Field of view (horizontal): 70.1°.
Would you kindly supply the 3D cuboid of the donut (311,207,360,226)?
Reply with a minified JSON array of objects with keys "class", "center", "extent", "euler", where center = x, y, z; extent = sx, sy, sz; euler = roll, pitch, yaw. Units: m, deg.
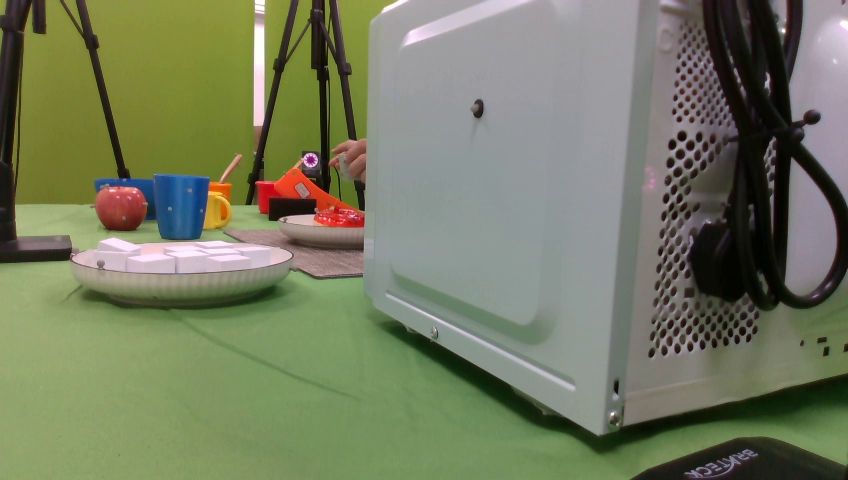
[{"class":"donut","center":[-0.137,-0.029,0.995],"extent":[0.099,0.048,0.099],"euler":[3,8,0]}]

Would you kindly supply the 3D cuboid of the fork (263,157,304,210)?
[{"class":"fork","center":[-0.345,-0.143,1.505],"extent":[0.028,0.019,0.207],"euler":[-5,45,29]}]

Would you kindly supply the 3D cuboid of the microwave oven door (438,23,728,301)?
[{"class":"microwave oven door","center":[0.181,-0.072,0.621],"extent":[0.358,0.243,0.039],"euler":[-2,8,-29]}]

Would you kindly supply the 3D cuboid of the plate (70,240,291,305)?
[{"class":"plate","center":[-0.242,0.031,0.618],"extent":[0.208,0.039,0.207],"euler":[2,8,0]}]

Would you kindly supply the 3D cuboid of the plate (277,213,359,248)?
[{"class":"plate","center":[-0.135,-0.017,0.992],"extent":[0.209,0.038,0.209],"euler":[2,8,0]}]

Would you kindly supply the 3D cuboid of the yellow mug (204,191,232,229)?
[{"class":"yellow mug","center":[-0.415,-0.057,1.131],"extent":[0.130,0.064,0.100],"euler":[6,7,16]}]

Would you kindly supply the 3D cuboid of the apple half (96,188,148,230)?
[{"class":"apple half","center":[-0.517,-0.052,1.036],"extent":[0.081,0.074,0.053],"euler":[3,10,-26]}]

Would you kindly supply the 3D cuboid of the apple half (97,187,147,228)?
[{"class":"apple half","center":[-0.534,-0.059,1.071],"extent":[0.082,0.081,0.032],"euler":[-1,11,-25]}]

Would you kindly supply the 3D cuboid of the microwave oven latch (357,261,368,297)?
[{"class":"microwave oven latch","center":[-0.019,0.033,0.531],"extent":[0.079,0.029,0.030],"euler":[-1,7,-27]}]

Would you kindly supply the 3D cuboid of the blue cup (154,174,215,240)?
[{"class":"blue cup","center":[-0.391,-0.053,0.978],"extent":[0.093,0.100,0.092],"euler":[4,6,0]}]

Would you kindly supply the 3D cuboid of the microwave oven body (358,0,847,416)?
[{"class":"microwave oven body","center":[0.211,-0.047,0.474],"extent":[0.444,0.260,0.324],"euler":[-1,7,-28]}]

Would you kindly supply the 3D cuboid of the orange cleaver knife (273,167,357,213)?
[{"class":"orange cleaver knife","center":[-0.238,-0.091,1.381],"extent":[0.212,0.077,0.012],"euler":[31,2,-19]}]

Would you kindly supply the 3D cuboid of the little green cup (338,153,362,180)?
[{"class":"little green cup","center":[-0.101,-0.112,0.922],"extent":[0.061,0.038,0.061],"euler":[2,12,0]}]

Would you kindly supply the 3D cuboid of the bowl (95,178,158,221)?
[{"class":"bowl","center":[-0.576,-0.081,1.217],"extent":[0.151,0.077,0.151],"euler":[3,8,0]}]

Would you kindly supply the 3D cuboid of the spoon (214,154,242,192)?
[{"class":"spoon","center":[-0.439,-0.124,1.318],"extent":[0.041,0.193,0.022],"euler":[5,-36,17]}]
